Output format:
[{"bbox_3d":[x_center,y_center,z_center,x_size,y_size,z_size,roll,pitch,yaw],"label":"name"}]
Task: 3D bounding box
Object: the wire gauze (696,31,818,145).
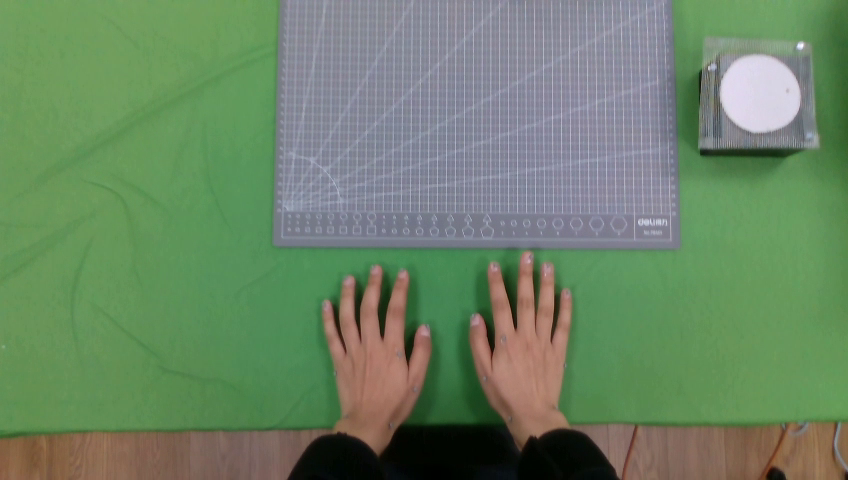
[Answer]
[{"bbox_3d":[0.350,-0.160,0.639,0.121,0.011,0.124,3,84,2],"label":"wire gauze"}]
